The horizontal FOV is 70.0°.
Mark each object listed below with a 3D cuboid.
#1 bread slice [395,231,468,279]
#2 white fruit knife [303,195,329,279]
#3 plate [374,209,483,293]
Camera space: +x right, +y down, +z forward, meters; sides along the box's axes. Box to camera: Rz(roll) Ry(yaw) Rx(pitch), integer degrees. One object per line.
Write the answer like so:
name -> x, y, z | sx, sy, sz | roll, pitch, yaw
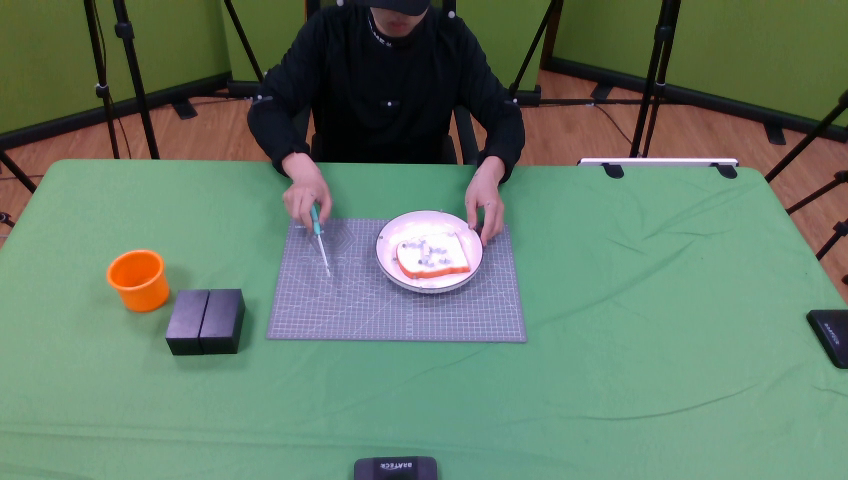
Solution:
bread slice -> 0.011, 0.029, 1.158 | 0.132, 0.019, 0.104 | -9, 48, -14
white fruit knife -> -0.201, -0.011, 1.140 | 0.016, 0.027, 0.206 | -9, 55, -19
plate -> 0.009, 0.024, 1.160 | 0.209, 0.038, 0.208 | 2, 46, -2
